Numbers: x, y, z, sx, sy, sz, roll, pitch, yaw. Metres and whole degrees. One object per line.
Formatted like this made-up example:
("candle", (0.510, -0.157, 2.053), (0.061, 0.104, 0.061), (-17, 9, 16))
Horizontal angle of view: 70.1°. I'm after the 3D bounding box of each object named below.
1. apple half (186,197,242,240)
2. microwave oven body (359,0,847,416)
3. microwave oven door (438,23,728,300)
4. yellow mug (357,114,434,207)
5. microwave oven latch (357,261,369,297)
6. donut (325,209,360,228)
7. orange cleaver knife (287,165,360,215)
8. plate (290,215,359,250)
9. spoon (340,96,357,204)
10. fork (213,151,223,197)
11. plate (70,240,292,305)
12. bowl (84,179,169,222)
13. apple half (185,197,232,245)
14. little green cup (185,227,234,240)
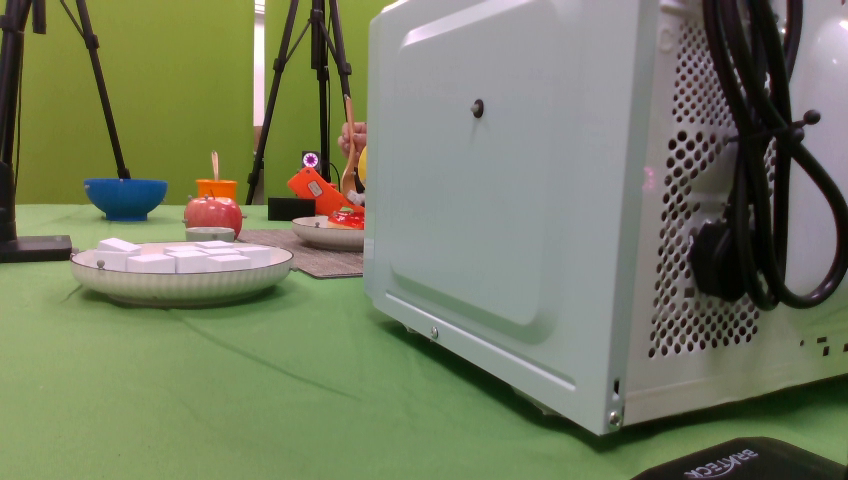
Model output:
("apple half", (-0.306, -0.026, 0.904), (0.053, 0.074, 0.081), (14, 9, 37))
("microwave oven body", (0.211, -0.047, 0.474), (0.444, 0.260, 0.324), (-1, 7, -28))
("microwave oven door", (0.181, -0.072, 0.621), (0.358, 0.243, 0.039), (-2, 8, -29))
("yellow mug", (-0.040, -0.121, 0.895), (0.100, 0.131, 0.063), (-13, 33, -35))
("microwave oven latch", (-0.019, 0.033, 0.530), (0.079, 0.029, 0.030), (-1, 7, -26))
("donut", (-0.110, -0.025, 0.973), (0.099, 0.048, 0.099), (5, 7, 0))
("orange cleaver knife", (-0.211, -0.093, 1.382), (0.212, 0.077, 0.012), (33, 1, -15))
("plate", (-0.110, -0.013, 0.973), (0.209, 0.038, 0.209), (2, 7, 0))
("spoon", (-0.122, -0.151, 0.996), (0.021, 0.193, 0.042), (-9, -17, 31))
("fork", (-0.494, -0.143, 1.442), (0.028, 0.018, 0.206), (-2, 52, -20))
("plate", (-0.242, 0.031, 0.618), (0.208, 0.039, 0.207), (2, 8, 0))
("bowl", (-0.584, -0.078, 1.194), (0.151, 0.077, 0.151), (3, 8, 0))
("apple half", (-0.337, -0.031, 0.928), (0.032, 0.081, 0.082), (13, 13, 37))
("little green cup", (-0.285, 0.005, 0.805), (0.061, 0.038, 0.061), (2, 8, 0))
